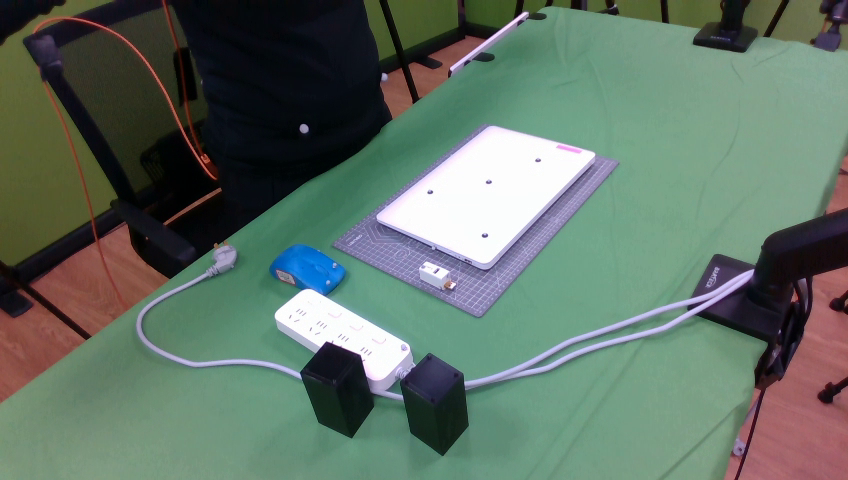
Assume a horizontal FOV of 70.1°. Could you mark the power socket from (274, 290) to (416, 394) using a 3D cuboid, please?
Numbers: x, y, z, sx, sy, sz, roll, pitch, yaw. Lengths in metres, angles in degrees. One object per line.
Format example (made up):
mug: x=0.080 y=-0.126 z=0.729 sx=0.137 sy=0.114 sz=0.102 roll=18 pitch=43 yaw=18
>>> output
power socket: x=-0.113 y=0.133 z=0.820 sx=0.225 sy=0.033 sz=0.072 roll=25 pitch=49 yaw=32

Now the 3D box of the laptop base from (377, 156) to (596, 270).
laptop base: x=0.116 y=-0.086 z=1.056 sx=0.233 sy=0.023 sz=0.355 roll=21 pitch=48 yaw=34

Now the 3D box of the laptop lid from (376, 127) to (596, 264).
laptop lid: x=0.113 y=-0.096 z=1.050 sx=0.239 sy=0.013 sz=0.358 roll=24 pitch=49 yaw=35

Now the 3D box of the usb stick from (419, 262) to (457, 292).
usb stick: x=0.022 y=0.056 z=0.892 sx=0.059 sy=0.027 sz=0.021 roll=25 pitch=47 yaw=30

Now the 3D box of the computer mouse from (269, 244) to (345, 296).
computer mouse: x=-0.181 y=0.044 z=0.932 sx=0.116 sy=0.041 sz=0.063 roll=23 pitch=46 yaw=25

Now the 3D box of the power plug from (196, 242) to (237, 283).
power plug: x=-0.336 y=0.031 z=0.968 sx=0.073 sy=0.035 sz=0.052 roll=-18 pitch=58 yaw=-28
